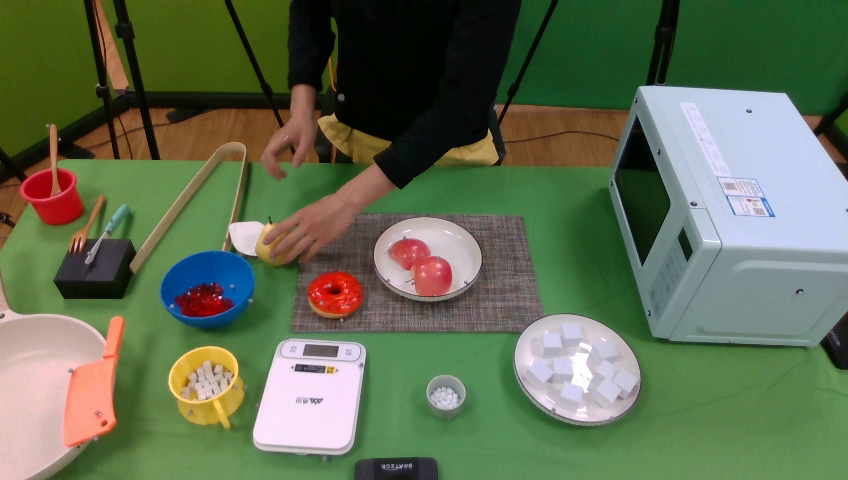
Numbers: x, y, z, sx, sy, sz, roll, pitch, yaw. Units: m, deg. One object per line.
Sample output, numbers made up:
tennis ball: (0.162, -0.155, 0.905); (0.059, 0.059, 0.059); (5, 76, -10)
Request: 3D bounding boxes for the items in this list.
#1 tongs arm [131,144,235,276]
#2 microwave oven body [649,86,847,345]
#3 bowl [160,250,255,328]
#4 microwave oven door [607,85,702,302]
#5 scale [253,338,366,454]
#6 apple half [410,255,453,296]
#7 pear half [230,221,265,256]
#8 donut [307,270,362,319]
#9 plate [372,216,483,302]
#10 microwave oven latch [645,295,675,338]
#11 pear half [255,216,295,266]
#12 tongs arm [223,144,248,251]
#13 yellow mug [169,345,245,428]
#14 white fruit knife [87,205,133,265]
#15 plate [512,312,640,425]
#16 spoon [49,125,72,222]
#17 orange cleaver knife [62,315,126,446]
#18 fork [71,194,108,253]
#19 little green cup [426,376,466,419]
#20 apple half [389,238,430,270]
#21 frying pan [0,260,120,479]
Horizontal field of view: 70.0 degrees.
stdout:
tongs arm: (-0.484, -0.075, 1.236); (0.028, 0.028, 0.385); (5, 45, 14)
microwave oven body: (0.567, -0.053, 1.118); (0.326, 0.261, 0.439); (2, 45, -1)
bowl: (-0.362, 0.098, 1.039); (0.151, 0.077, 0.150); (2, 45, -2)
microwave oven door: (0.423, -0.094, 1.140); (0.039, 0.245, 0.353); (2, 46, -1)
scale: (-0.175, 0.236, 0.951); (0.149, 0.032, 0.199); (4, 46, -1)
apple half: (0.015, 0.058, 1.103); (0.075, 0.053, 0.080); (-3, 43, -9)
pear half: (-0.333, -0.001, 1.166); (0.088, 0.031, 0.070); (30, 54, 6)
donut: (-0.157, 0.097, 1.073); (0.099, 0.048, 0.098); (4, 45, -4)
plate: (0.006, 0.038, 1.145); (0.209, 0.038, 0.208); (2, 46, -2)
microwave oven latch: (0.412, 0.134, 1.061); (0.030, 0.029, 0.078); (3, 45, 0)
pear half: (-0.270, 0.001, 1.117); (0.056, 0.110, 0.076); (25, 53, 18)
tongs arm: (-0.398, -0.073, 1.232); (0.051, 0.027, 0.382); (-4, 45, 1)
yellow mug: (-0.322, 0.230, 0.922); (0.100, 0.064, 0.130); (-24, 53, -25)
white fruit knife: (-0.584, -0.013, 1.129); (0.016, 0.027, 0.206); (-1, 32, -4)
plate: (0.246, 0.213, 0.999); (0.208, 0.039, 0.206); (2, 46, -2)
spoon: (-0.718, -0.131, 1.189); (0.041, 0.021, 0.193); (-4, 90, -7)
orange cleaver knife: (-0.480, 0.199, 0.887); (0.077, 0.012, 0.210); (-9, 47, -8)
fork: (-0.634, -0.036, 1.158); (0.028, 0.019, 0.206); (-8, 31, -8)
little green cup: (0.033, 0.248, 0.950); (0.061, 0.039, 0.061); (2, 46, -2)
apple half: (-0.026, 0.016, 1.158); (0.081, 0.033, 0.081); (2, 47, -2)
frying pan: (-0.647, 0.164, 0.936); (0.307, 0.103, 0.485); (-19, 58, -22)
